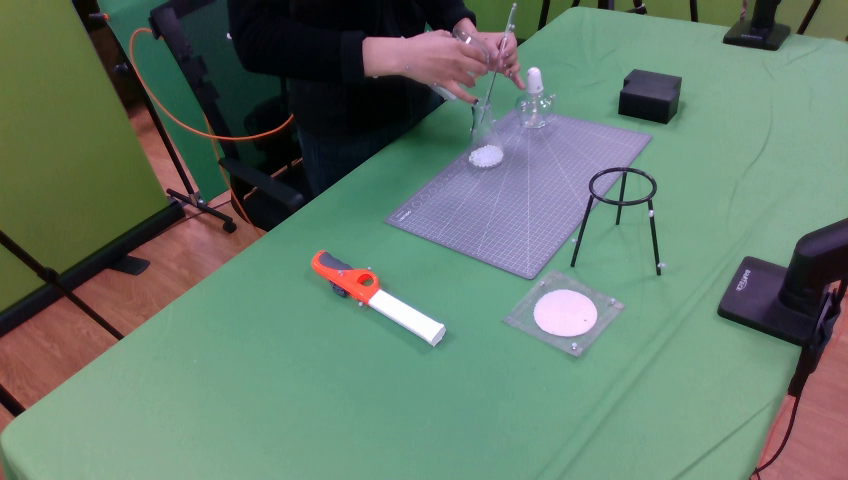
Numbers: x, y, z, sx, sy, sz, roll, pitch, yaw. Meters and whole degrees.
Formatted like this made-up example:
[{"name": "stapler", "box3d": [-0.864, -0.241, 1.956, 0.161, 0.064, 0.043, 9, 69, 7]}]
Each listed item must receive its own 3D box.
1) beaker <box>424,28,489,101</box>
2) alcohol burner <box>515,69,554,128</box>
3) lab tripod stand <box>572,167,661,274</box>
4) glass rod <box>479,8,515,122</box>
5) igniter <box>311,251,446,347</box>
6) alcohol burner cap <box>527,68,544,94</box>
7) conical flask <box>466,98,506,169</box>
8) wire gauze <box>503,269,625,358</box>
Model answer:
[{"name": "beaker", "box3d": [0.054, -0.294, 1.032, 0.100, 0.084, 0.073, -54, 22, 5]}, {"name": "alcohol burner", "box3d": [0.221, -0.285, 1.203, 0.078, 0.119, 0.077, -4, 39, 4]}, {"name": "lab tripod stand", "box3d": [0.283, -0.030, 0.879, 0.148, 0.132, 0.147, -7, 38, 6]}, {"name": "glass rod", "box3d": [0.128, -0.303, 1.061, 0.008, 0.200, 0.008, 14, 20, -5]}, {"name": "igniter", "box3d": [-0.078, 0.081, 0.899, 0.274, 0.025, 0.057, 27, 62, 35]}, {"name": "alcohol burner cap", "box3d": [0.216, -0.312, 1.179, 0.034, 0.048, 0.033, -9, 40, 9]}, {"name": "conical flask", "box3d": [0.111, -0.199, 1.116, 0.075, 0.122, 0.075, -5, 41, 5]}, {"name": "wire gauze", "box3d": [0.194, 0.100, 0.840, 0.120, 0.011, 0.125, 27, 54, 36]}]
